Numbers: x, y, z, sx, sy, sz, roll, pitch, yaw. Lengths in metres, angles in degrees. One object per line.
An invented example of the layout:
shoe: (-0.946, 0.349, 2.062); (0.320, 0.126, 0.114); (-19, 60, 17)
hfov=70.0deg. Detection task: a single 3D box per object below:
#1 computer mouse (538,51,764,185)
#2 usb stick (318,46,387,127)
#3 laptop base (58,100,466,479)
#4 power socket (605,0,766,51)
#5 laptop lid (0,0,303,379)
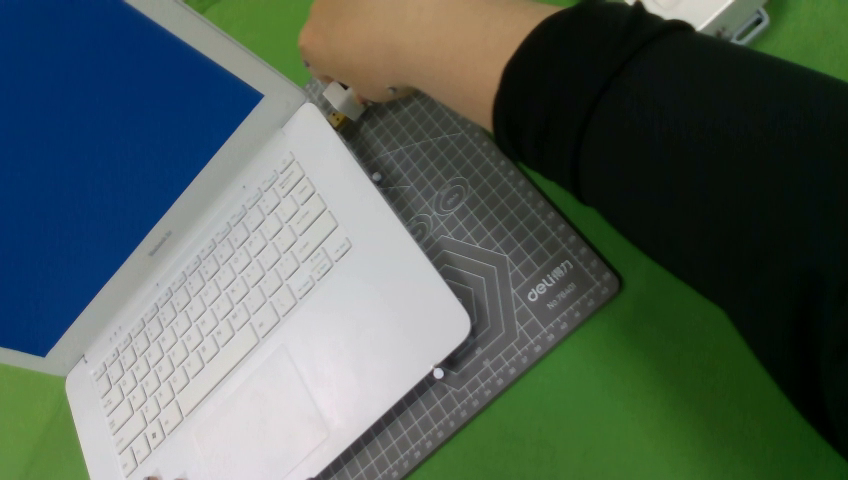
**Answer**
computer mouse: (0.115, -0.067, 0.325); (0.116, 0.041, 0.062); (12, 86, 39)
usb stick: (-0.057, -0.110, 0.443); (0.059, 0.027, 0.021); (-47, 65, 12)
laptop base: (-0.149, 0.090, 0.460); (0.354, 0.023, 0.233); (-45, 62, 14)
power socket: (0.112, -0.194, 0.363); (0.072, 0.033, 0.224); (-43, 59, 16)
laptop lid: (-0.282, -0.036, 0.435); (0.357, 0.244, 0.013); (-46, 45, 15)
